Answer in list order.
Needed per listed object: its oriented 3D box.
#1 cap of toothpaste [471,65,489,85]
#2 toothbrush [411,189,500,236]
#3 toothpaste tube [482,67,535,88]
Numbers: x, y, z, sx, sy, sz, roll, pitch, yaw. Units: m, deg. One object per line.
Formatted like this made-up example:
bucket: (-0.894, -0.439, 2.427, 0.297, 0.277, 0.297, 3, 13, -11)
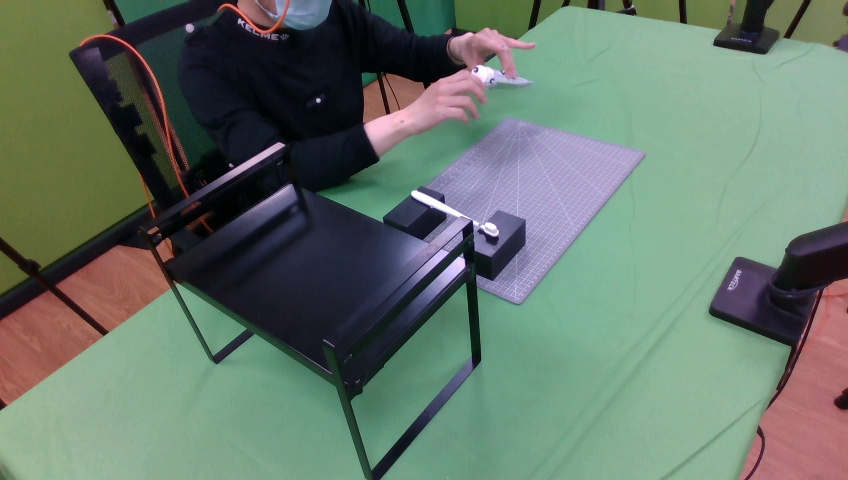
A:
cap of toothpaste: (0.101, -0.296, 1.086, 0.037, 0.037, 0.011, 23, 20, 30)
toothbrush: (0.045, -0.046, 0.940, 0.180, 0.017, 0.014, 28, 67, 36)
toothpaste tube: (0.151, -0.304, 1.148, 0.054, 0.034, 0.166, -1, 6, 37)
